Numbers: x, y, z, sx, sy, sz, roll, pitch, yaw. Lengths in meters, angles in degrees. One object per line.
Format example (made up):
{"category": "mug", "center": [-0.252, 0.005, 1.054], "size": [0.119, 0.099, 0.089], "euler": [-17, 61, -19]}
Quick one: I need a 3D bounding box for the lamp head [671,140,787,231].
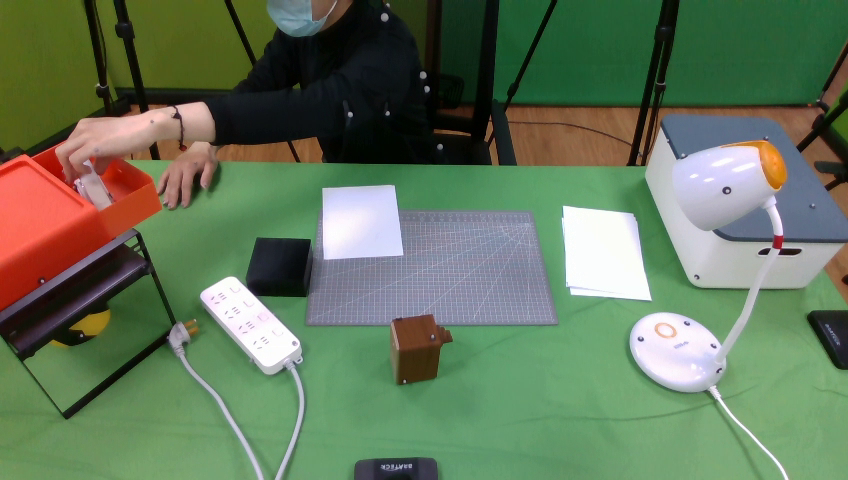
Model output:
{"category": "lamp head", "center": [0.415, -0.078, 0.811], "size": [0.113, 0.123, 0.112], "euler": [13, 70, -37]}

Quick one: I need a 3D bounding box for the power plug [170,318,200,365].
{"category": "power plug", "center": [-0.392, 0.167, 1.014], "size": [0.052, 0.035, 0.072], "euler": [-30, 91, -23]}

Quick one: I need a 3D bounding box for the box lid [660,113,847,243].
{"category": "box lid", "center": [0.628, -0.132, 1.170], "size": [0.263, 0.015, 0.369], "euler": [1, 46, -3]}

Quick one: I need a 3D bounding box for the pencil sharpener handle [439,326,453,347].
{"category": "pencil sharpener handle", "center": [0.036, 0.155, 0.976], "size": [0.031, 0.068, 0.036], "euler": [-8, 69, -11]}

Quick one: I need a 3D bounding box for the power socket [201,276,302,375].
{"category": "power socket", "center": [-0.297, 0.141, 1.034], "size": [0.072, 0.033, 0.225], "euler": [-34, 58, -30]}

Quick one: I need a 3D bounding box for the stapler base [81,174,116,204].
{"category": "stapler base", "center": [-0.517, -0.068, 0.961], "size": [0.041, 0.024, 0.130], "euler": [-29, 60, -24]}

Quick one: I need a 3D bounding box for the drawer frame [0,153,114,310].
{"category": "drawer frame", "center": [-0.606, -0.009, 0.872], "size": [0.201, 0.083, 0.213], "euler": [30, 52, 22]}

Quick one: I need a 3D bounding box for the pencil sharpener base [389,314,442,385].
{"category": "pencil sharpener base", "center": [-0.013, 0.175, 0.971], "size": [0.077, 0.107, 0.061], "euler": [-8, 47, -12]}

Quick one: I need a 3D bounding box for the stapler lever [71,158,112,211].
{"category": "stapler lever", "center": [-0.514, -0.083, 0.942], "size": [0.027, 0.040, 0.117], "euler": [-29, 59, -24]}

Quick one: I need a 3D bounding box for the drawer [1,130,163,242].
{"category": "drawer", "center": [-0.551, -0.060, 0.928], "size": [0.193, 0.073, 0.211], "euler": [31, 52, 22]}

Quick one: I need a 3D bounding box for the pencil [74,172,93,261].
{"category": "pencil", "center": [-0.532, -0.047, 0.943], "size": [0.012, 0.012, 0.193], "euler": [-16, 60, -18]}

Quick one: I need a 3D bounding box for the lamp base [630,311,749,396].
{"category": "lamp base", "center": [0.447, 0.143, 0.983], "size": [0.161, 0.181, 0.178], "euler": [-24, 55, -24]}

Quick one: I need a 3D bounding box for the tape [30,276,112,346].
{"category": "tape", "center": [-0.594, 0.118, 1.021], "size": [0.117, 0.053, 0.116], "euler": [3, 45, -2]}

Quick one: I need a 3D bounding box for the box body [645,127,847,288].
{"category": "box body", "center": [0.625, -0.080, 1.222], "size": [0.254, 0.161, 0.361], "euler": [0, 46, -3]}
